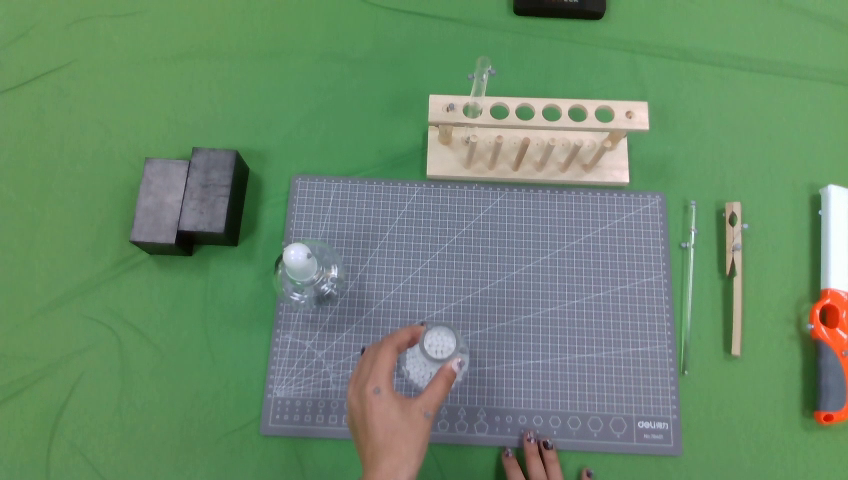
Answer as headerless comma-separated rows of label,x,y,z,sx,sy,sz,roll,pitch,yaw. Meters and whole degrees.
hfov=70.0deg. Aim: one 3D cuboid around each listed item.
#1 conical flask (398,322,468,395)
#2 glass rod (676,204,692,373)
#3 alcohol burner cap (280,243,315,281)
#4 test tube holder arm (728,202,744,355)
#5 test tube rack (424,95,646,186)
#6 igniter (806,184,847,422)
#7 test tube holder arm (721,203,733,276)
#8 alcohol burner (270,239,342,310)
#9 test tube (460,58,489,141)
conical flask,0.011,0.111,0.598,0.075,0.122,0.075,1,72,-2
glass rod,0.299,0.053,0.697,0.008,0.008,0.199,9,76,2
alcohol burner cap,-0.128,0.019,0.606,0.034,0.048,0.033,2,70,-4
test tube holder arm,0.357,0.042,0.694,0.013,0.015,0.177,-7,70,34
test tube rack,0.123,-0.113,0.704,0.242,0.085,0.066,2,73,0
igniter,0.460,0.067,0.685,0.057,0.025,0.275,14,74,-7
test tube holder arm,0.356,-0.001,0.710,0.010,0.015,0.087,-6,70,35
alcohol burner,-0.128,0.032,0.640,0.078,0.120,0.077,0,72,2
test tube,0.054,-0.149,0.662,0.017,0.151,0.017,1,71,-2
